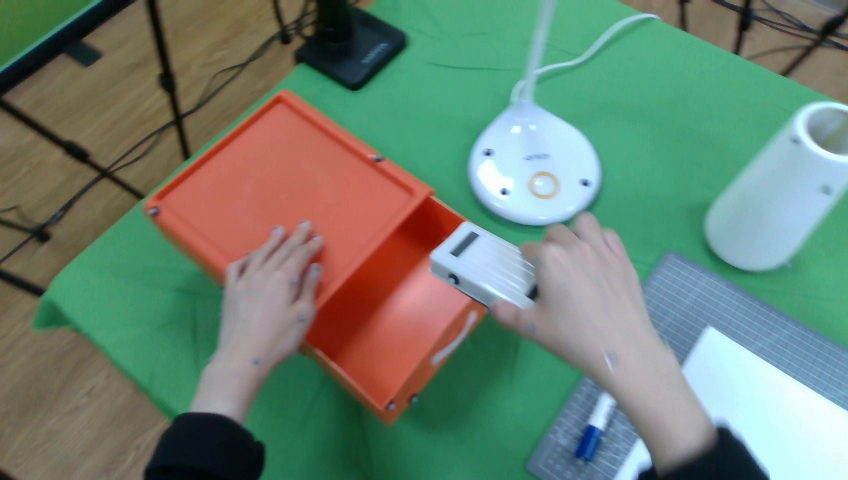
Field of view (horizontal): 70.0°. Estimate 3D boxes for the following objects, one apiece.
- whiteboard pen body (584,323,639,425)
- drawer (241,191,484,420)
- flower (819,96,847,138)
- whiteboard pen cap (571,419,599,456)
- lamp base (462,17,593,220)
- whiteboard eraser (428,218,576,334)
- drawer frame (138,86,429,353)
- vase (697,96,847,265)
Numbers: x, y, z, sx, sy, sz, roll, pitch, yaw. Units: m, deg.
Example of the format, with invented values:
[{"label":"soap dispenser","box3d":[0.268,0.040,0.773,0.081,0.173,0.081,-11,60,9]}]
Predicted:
[{"label":"whiteboard pen body","box3d":[0.185,0.145,0.610,0.017,0.017,0.140,26,67,15]},{"label":"drawer","box3d":[-0.051,0.033,0.597,0.210,0.074,0.194,35,68,19]},{"label":"flower","box3d":[0.370,-0.105,0.553,0.038,0.364,0.044,20,45,5]},{"label":"whiteboard pen cap","box3d":[0.157,0.191,0.588,0.018,0.018,0.033,26,66,15]},{"label":"lamp base","box3d":[0.120,-0.142,0.683,0.161,0.182,0.177,-18,59,-9]},{"label":"whiteboard eraser","box3d":[0.062,0.029,0.490,0.112,0.042,0.055,29,55,27]},{"label":"drawer frame","box3d":[-0.138,-0.026,0.630,0.212,0.083,0.201,35,68,15]},{"label":"vase","box3d":[0.356,-0.055,0.620,0.098,0.201,0.097,-1,60,2]}]
